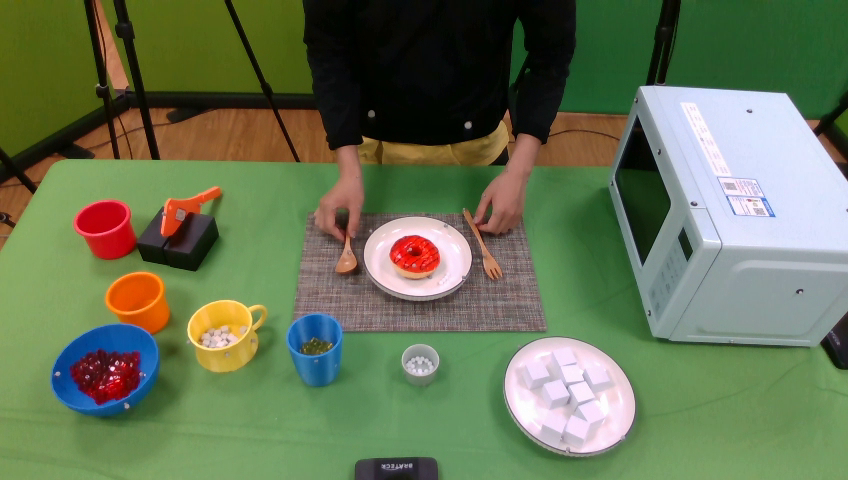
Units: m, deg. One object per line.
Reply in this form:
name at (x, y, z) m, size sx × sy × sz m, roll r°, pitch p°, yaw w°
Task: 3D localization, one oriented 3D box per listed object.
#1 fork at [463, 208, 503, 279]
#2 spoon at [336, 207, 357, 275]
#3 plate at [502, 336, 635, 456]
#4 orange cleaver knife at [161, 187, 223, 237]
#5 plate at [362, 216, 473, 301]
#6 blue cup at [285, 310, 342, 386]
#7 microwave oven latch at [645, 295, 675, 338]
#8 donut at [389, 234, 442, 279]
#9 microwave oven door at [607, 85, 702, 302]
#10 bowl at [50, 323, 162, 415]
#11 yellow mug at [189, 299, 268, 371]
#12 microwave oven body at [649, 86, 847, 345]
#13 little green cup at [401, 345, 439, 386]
fork at (0.113, 0.003, 1.200) m, size 0.028 × 0.019 × 0.206 m, roll -22°, pitch 50°, yaw 1°
spoon at (-0.147, -0.002, 1.184) m, size 0.041 × 0.022 × 0.192 m, roll -16°, pitch 45°, yaw 14°
plate at (0.225, 0.248, 0.963) m, size 0.208 × 0.039 × 0.206 m, roll 2°, pitch 46°, yaw -2°
orange cleaver knife at (-0.448, -0.058, 1.181) m, size 0.012 × 0.077 × 0.211 m, roll 13°, pitch 17°, yaw 6°
plate at (-0.012, 0.038, 1.144) m, size 0.209 × 0.038 × 0.208 m, roll 2°, pitch 46°, yaw -2°
blue cup at (-0.170, 0.179, 0.958) m, size 0.093 × 0.101 × 0.092 m, roll 2°, pitch 44°, yaw -1°
microwave oven latch at (0.412, 0.134, 1.061) m, size 0.030 × 0.029 × 0.078 m, roll 3°, pitch 45°, yaw 0°
donut at (-0.016, 0.031, 1.135) m, size 0.099 × 0.048 × 0.098 m, roll 4°, pitch 44°, yaw -3°
microwave oven door at (0.424, -0.094, 1.141) m, size 0.039 × 0.245 × 0.353 m, roll 2°, pitch 46°, yaw -1°
bowl at (-0.472, 0.209, 0.924) m, size 0.151 × 0.077 × 0.150 m, roll 2°, pitch 45°, yaw -2°
yellow mug at (-0.316, 0.148, 1.002) m, size 0.131 × 0.064 × 0.099 m, roll -32°, pitch 56°, yaw -31°
microwave oven body at (0.568, -0.053, 1.118) m, size 0.326 × 0.261 × 0.439 m, roll 2°, pitch 45°, yaw -1°
little green cup at (-0.007, 0.206, 0.988) m, size 0.061 × 0.039 × 0.061 m, roll 2°, pitch 46°, yaw -2°
